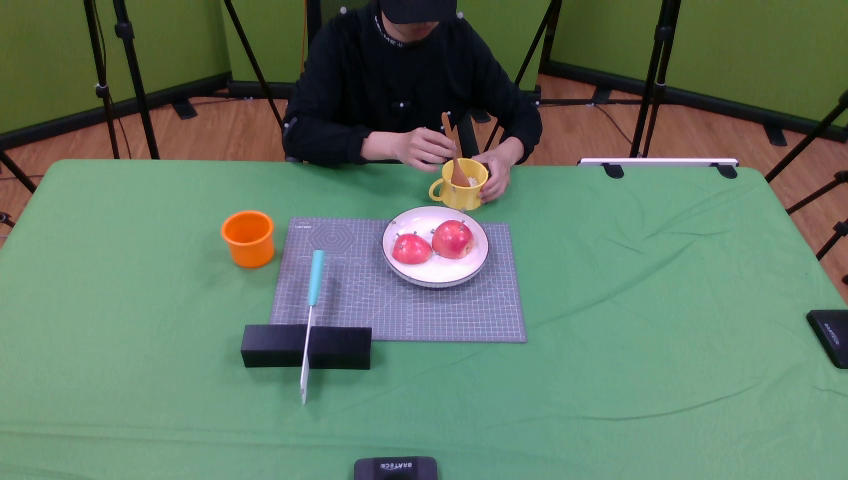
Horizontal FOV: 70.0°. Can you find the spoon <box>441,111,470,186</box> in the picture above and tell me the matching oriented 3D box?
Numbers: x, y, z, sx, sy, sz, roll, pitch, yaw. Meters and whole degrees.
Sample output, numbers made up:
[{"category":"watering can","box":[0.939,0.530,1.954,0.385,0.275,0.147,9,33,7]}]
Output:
[{"category":"spoon","box":[0.057,-0.171,1.210,0.041,0.195,0.021,-2,37,19]}]

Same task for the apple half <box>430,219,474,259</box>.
[{"category":"apple half","box":[0.056,-0.008,1.172,0.081,0.053,0.074,-33,59,-31]}]

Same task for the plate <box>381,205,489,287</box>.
[{"category":"plate","box":[0.021,0.015,1.170,0.209,0.038,0.208,2,46,-2]}]

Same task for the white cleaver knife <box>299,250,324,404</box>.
[{"category":"white cleaver knife","box":[-0.194,0.134,1.019,0.021,0.066,0.284,5,50,-5]}]

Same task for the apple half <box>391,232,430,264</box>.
[{"category":"apple half","box":[-0.024,0.009,1.163,0.081,0.033,0.081,2,43,-2]}]

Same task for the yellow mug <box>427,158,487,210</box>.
[{"category":"yellow mug","box":[0.068,-0.115,1.285,0.131,0.064,0.099,-16,48,-17]}]
